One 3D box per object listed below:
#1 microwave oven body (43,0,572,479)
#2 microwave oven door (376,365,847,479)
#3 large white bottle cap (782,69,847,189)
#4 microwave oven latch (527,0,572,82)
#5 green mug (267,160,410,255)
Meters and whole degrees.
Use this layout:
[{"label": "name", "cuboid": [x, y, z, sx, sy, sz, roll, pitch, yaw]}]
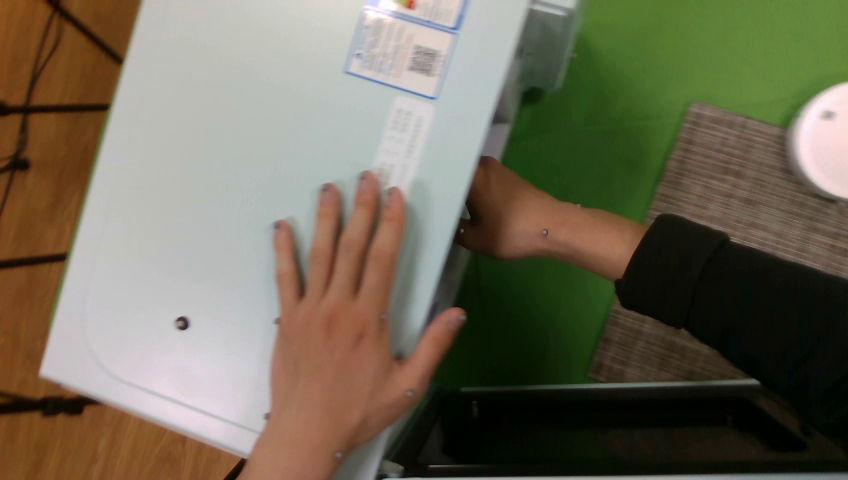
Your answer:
[{"label": "microwave oven body", "cuboid": [-0.083, -0.073, 0.543, 0.325, 0.260, 0.442, 17, 95, 8]}, {"label": "microwave oven door", "cuboid": [0.159, 0.158, 0.508, 0.355, 0.244, 0.039, -5, 91, 9]}, {"label": "large white bottle cap", "cuboid": [0.410, -0.107, 0.584, 0.114, 0.018, 0.115, 0, 92, 9]}, {"label": "microwave oven latch", "cuboid": [0.124, -0.201, 0.602, 0.030, 0.029, 0.079, 18, 95, 8]}, {"label": "green mug", "cuboid": [-0.076, -0.029, 0.565, 0.125, 0.105, 0.092, 1, 96, 2]}]
